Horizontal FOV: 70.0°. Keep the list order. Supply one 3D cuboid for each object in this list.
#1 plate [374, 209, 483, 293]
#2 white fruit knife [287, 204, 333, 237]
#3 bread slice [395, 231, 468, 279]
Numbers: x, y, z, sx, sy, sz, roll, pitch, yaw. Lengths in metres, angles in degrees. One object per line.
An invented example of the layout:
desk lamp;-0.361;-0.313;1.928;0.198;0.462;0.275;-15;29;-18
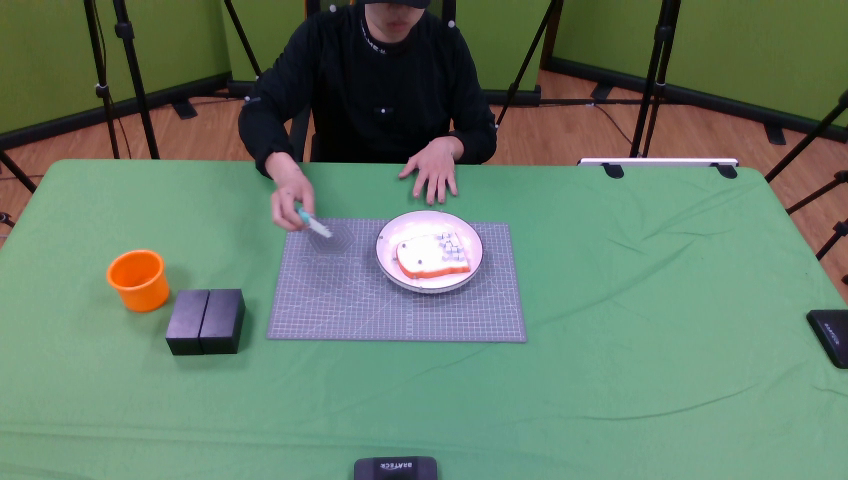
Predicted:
plate;0.009;0.024;1.160;0.209;0.038;0.208;2;46;-2
white fruit knife;-0.198;-0.034;1.051;0.016;0.027;0.206;-23;26;-25
bread slice;0.011;0.030;1.159;0.132;0.019;0.104;-8;47;-14
